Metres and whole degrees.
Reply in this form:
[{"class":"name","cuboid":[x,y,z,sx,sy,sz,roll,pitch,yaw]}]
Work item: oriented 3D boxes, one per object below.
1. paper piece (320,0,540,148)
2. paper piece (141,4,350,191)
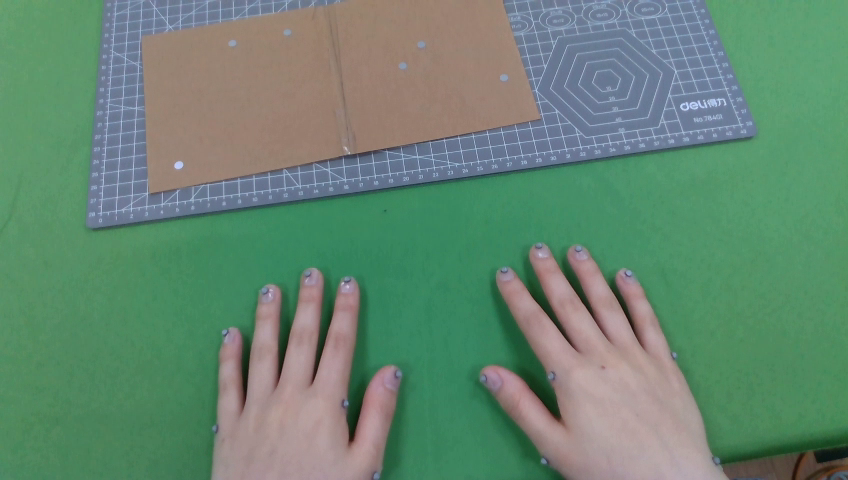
[{"class":"paper piece","cuboid":[0.001,-0.134,0.434,0.136,0.004,0.134,-11,67,-3]},{"class":"paper piece","cuboid":[-0.129,-0.106,0.427,0.138,0.009,0.135,-11,65,-3]}]
